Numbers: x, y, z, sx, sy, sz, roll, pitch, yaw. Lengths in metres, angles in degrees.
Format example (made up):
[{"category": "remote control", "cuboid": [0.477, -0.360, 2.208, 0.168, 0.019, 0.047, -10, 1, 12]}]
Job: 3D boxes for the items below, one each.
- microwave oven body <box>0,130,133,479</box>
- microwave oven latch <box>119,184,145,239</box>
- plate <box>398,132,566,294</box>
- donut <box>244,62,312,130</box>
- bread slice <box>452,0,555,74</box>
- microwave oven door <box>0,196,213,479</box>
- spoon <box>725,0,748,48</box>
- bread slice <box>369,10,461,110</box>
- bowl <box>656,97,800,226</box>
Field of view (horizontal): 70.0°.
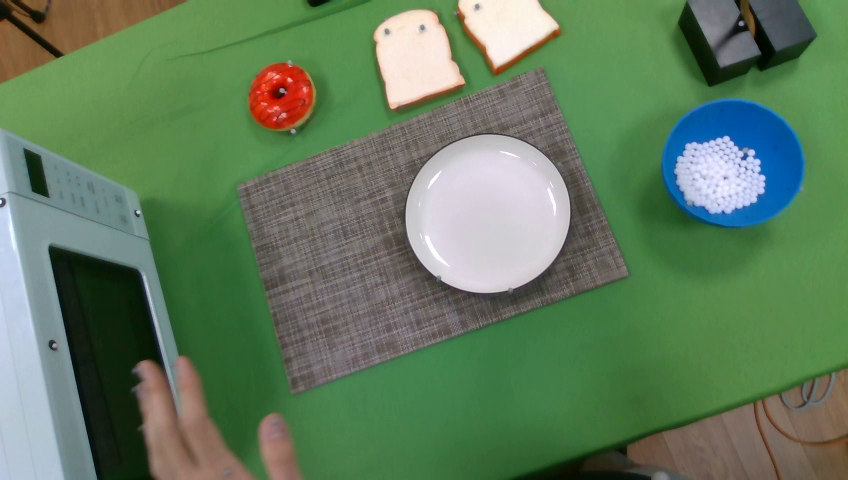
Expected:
[{"category": "microwave oven body", "cuboid": [-0.501, 0.160, 0.705, 0.326, 0.261, 0.439, -22, 77, 4]}, {"category": "microwave oven latch", "cuboid": [-0.409, -0.035, 0.828, 0.030, 0.029, 0.078, -22, 77, 4]}, {"category": "plate", "cuboid": [0.072, -0.032, 0.763, 0.207, 0.039, 0.206, -2, 79, 9]}, {"category": "donut", "cuboid": [-0.204, -0.200, 0.844, 0.099, 0.048, 0.098, -2, 79, 12]}, {"category": "bread slice", "cuboid": [0.099, -0.304, 0.828, 0.105, 0.019, 0.131, -34, 77, 1]}, {"category": "microwave oven door", "cuboid": [-0.352, 0.142, 0.679, 0.039, 0.245, 0.353, -23, 76, 5]}, {"category": "spoon", "cuboid": [0.360, -0.273, 0.686, 0.021, 0.195, 0.041, -21, 73, 19]}, {"category": "bread slice", "cuboid": [-0.021, -0.251, 0.837, 0.107, 0.018, 0.133, -21, 77, 4]}, {"category": "bowl", "cuboid": [0.344, -0.082, 0.711, 0.151, 0.077, 0.150, -2, 78, 9]}]
